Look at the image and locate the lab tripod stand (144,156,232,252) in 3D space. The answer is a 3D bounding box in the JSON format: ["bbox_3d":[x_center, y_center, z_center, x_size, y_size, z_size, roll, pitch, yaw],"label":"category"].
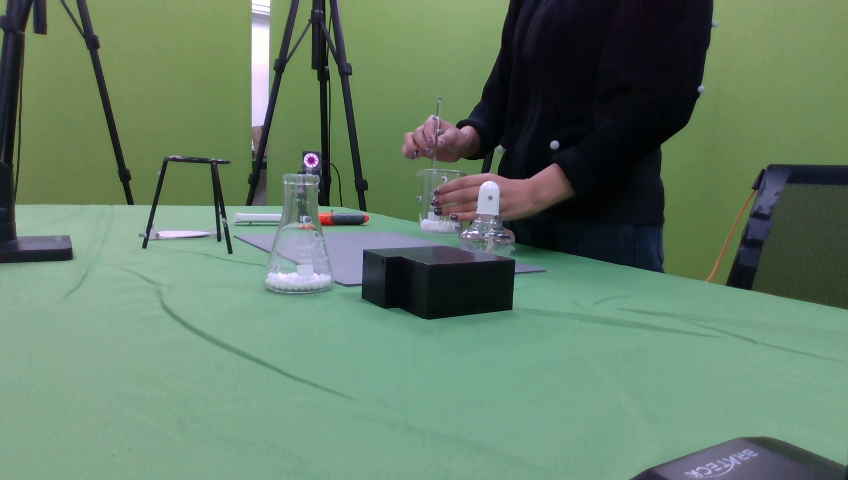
[{"bbox_3d":[-0.325,-0.054,0.881,0.148,0.131,0.148,4,7,0],"label":"lab tripod stand"}]

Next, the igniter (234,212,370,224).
[{"bbox_3d":[-0.247,-0.046,1.253,0.278,0.025,0.057,-1,-2,-27],"label":"igniter"}]

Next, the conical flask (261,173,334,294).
[{"bbox_3d":[-0.131,-0.009,0.632,0.075,0.122,0.075,2,8,0],"label":"conical flask"}]

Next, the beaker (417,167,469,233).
[{"bbox_3d":[0.027,-0.063,0.955,0.084,0.100,0.074,4,5,8],"label":"beaker"}]

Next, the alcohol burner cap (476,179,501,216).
[{"bbox_3d":[0.086,-0.057,0.801,0.034,0.048,0.034,4,2,0],"label":"alcohol burner cap"}]

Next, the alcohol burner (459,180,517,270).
[{"bbox_3d":[0.086,-0.021,0.805,0.078,0.119,0.078,3,10,0],"label":"alcohol burner"}]

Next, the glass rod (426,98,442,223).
[{"bbox_3d":[0.015,-0.125,0.960,0.008,0.199,0.008,6,1,0],"label":"glass rod"}]

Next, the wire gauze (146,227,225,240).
[{"bbox_3d":[-0.400,-0.012,1.019,0.122,0.011,0.124,-1,6,-26],"label":"wire gauze"}]
